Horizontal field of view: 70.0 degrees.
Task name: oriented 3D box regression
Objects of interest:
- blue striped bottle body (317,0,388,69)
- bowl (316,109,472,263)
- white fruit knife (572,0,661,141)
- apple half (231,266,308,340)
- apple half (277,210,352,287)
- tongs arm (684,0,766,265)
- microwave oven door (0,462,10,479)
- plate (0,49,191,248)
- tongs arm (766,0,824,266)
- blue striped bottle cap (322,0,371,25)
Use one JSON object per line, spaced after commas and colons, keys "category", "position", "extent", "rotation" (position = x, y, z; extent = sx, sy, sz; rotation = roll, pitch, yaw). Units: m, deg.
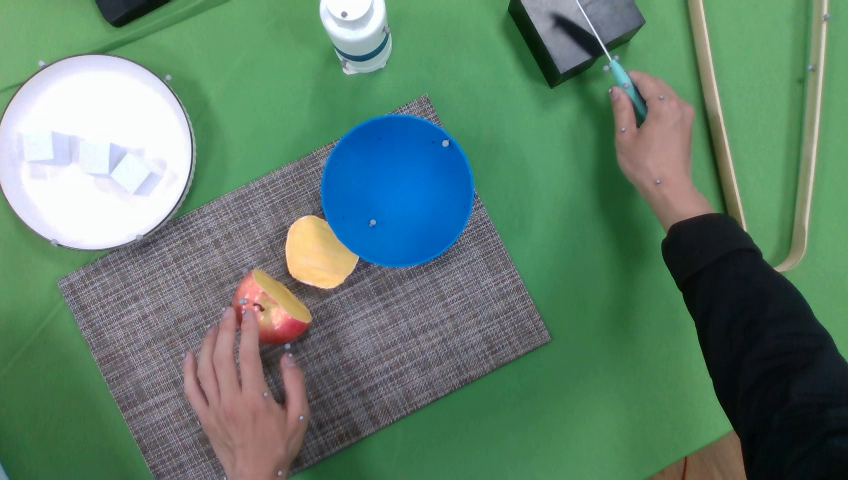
{"category": "blue striped bottle body", "position": [-0.070, -0.220, 0.605], "extent": [0.063, 0.121, 0.063], "rotation": [0, 88, 0]}
{"category": "bowl", "position": [-0.028, -0.051, 0.620], "extent": [0.151, 0.077, 0.151], "rotation": [0, 89, 0]}
{"category": "white fruit knife", "position": [0.188, -0.182, 0.616], "extent": [0.016, 0.027, 0.209], "rotation": [-33, 112, 19]}
{"category": "apple half", "position": [-0.164, 0.071, 0.620], "extent": [0.081, 0.074, 0.053], "rotation": [44, 92, -4]}
{"category": "apple half", "position": [-0.117, 0.008, 0.638], "extent": [0.081, 0.032, 0.081], "rotation": [-1, 99, -9]}
{"category": "tongs arm", "position": [0.314, -0.160, 0.653], "extent": [0.028, 0.028, 0.387], "rotation": [-11, 90, -3]}
{"category": "microwave oven door", "position": [-0.427, 0.293, 0.516], "extent": [0.039, 0.244, 0.355], "rotation": [-29, 89, -1]}
{"category": "plate", "position": [-0.348, -0.094, 0.643], "extent": [0.208, 0.039, 0.207], "rotation": [0, 89, -1]}
{"category": "tongs arm", "position": [0.395, -0.164, 0.650], "extent": [0.051, 0.026, 0.384], "rotation": [3, 90, 0]}
{"category": "blue striped bottle cap", "position": [-0.071, -0.222, 0.554], "extent": [0.044, 0.020, 0.044], "rotation": [0, 88, -2]}
